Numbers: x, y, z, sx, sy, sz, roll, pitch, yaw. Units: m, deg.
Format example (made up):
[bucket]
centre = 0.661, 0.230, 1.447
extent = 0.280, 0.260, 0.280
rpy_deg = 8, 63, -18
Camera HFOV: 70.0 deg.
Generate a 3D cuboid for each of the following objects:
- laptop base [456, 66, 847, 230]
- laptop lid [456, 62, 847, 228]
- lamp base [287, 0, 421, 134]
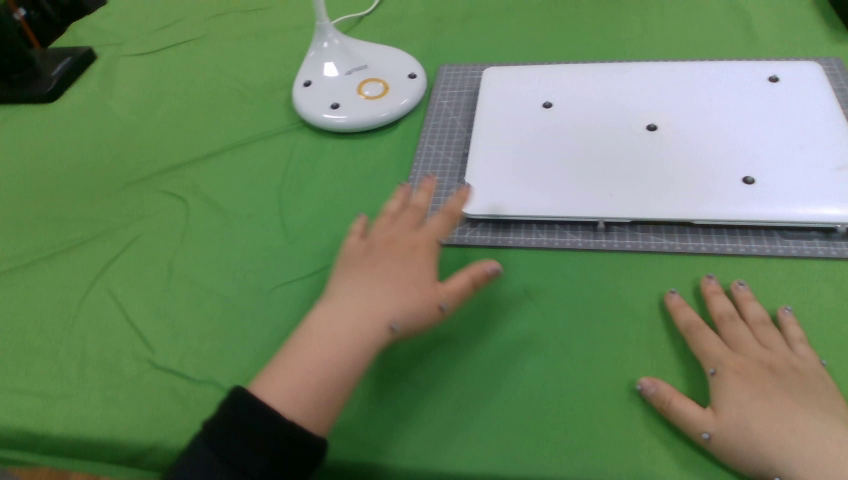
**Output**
[laptop base]
centre = 0.218, -0.095, 0.601
extent = 0.353, 0.023, 0.233
rpy_deg = 2, 51, 10
[laptop lid]
centre = 0.216, -0.102, 0.590
extent = 0.356, 0.013, 0.239
rpy_deg = 3, 50, 11
[lamp base]
centre = -0.101, -0.235, 0.670
extent = 0.160, 0.182, 0.177
rpy_deg = -36, 49, -23
